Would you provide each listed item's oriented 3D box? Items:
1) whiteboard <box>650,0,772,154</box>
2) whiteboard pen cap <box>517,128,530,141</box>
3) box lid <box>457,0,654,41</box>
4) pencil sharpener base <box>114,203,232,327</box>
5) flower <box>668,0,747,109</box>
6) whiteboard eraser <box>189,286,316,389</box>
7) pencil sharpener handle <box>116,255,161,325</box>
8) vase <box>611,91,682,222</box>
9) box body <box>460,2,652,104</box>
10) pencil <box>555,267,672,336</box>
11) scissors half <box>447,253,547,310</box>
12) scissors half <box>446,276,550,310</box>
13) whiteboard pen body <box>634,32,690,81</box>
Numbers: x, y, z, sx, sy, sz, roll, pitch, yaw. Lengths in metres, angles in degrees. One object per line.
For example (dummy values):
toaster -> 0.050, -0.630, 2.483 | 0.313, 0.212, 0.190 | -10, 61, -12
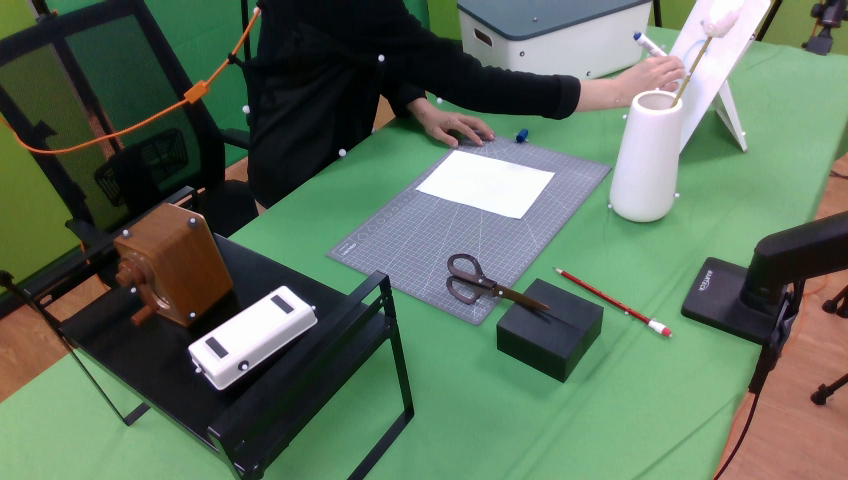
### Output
whiteboard -> 0.543, -0.298, 1.076 | 0.144, 0.305, 0.216 | 12, 40, -7
whiteboard pen cap -> 0.195, -0.207, 1.192 | 0.018, 0.018, 0.033 | 14, 40, 23
box lid -> 0.285, -0.522, 1.323 | 0.373, 0.015, 0.261 | -22, 43, -16
pencil sharpener base -> -0.261, 0.029, 0.635 | 0.061, 0.107, 0.077 | 18, 47, 27
flower -> 0.355, -0.187, 0.879 | 0.038, 0.362, 0.044 | 30, 48, 14
whiteboard eraser -> -0.166, 0.096, 0.593 | 0.113, 0.042, 0.055 | -36, 46, -29
pencil sharpener handle -> -0.286, 0.050, 0.594 | 0.035, 0.068, 0.031 | 7, 41, 36
vase -> 0.348, -0.125, 0.935 | 0.098, 0.201, 0.097 | -3, 40, 3
box body -> 0.291, -0.465, 1.371 | 0.365, 0.161, 0.252 | -22, 42, -16
pencil -> 0.261, 0.082, 0.851 | 0.012, 0.012, 0.192 | -33, 45, -27
scissors half -> 0.098, 0.058, 0.821 | 0.173, 0.040, 0.013 | 27, 33, 36
scissors half -> 0.098, 0.077, 0.827 | 0.174, 0.040, 0.013 | 6, 14, 44
whiteboard pen body -> 0.414, -0.314, 1.043 | 0.142, 0.017, 0.017 | 29, 35, -22
